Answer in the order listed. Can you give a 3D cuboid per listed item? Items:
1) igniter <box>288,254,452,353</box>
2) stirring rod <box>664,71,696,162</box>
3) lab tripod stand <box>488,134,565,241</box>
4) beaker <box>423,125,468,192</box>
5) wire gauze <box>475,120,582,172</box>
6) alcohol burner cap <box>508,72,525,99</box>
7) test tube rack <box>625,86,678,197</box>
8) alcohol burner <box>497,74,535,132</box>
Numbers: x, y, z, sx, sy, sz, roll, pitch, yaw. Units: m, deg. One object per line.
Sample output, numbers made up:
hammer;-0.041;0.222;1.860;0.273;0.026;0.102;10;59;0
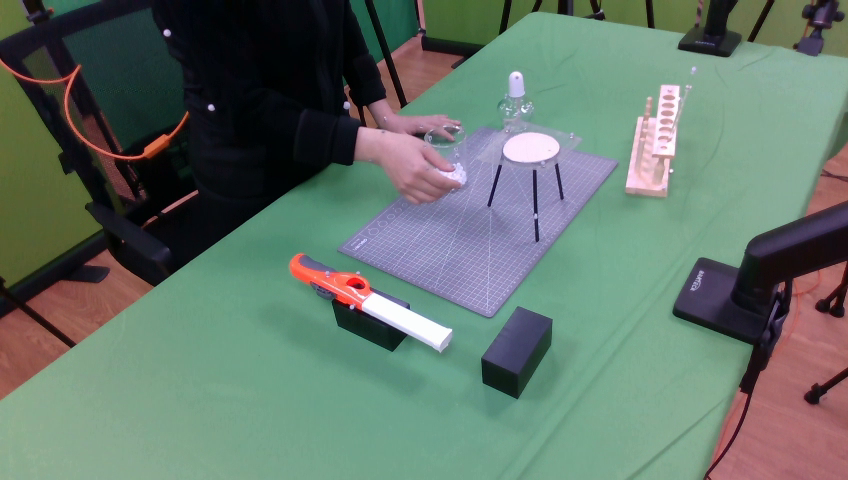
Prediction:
igniter;-0.083;0.080;0.818;0.274;0.025;0.057;23;46;27
stirring rod;0.411;-0.196;0.981;0.014;0.177;0.006;11;50;13
lab tripod stand;0.169;-0.092;0.972;0.148;0.132;0.147;-5;41;5
beaker;0.043;-0.144;1.078;0.073;0.100;0.084;28;51;34
wire gauze;0.161;-0.143;0.928;0.120;0.011;0.125;20;47;31
alcohol burner cap;0.181;-0.306;1.186;0.034;0.048;0.033;-7;39;6
test tube rack;0.412;-0.184;1.088;0.066;0.085;0.242;9;43;18
alcohol burner;0.184;-0.278;1.210;0.078;0.119;0.077;-3;42;3
